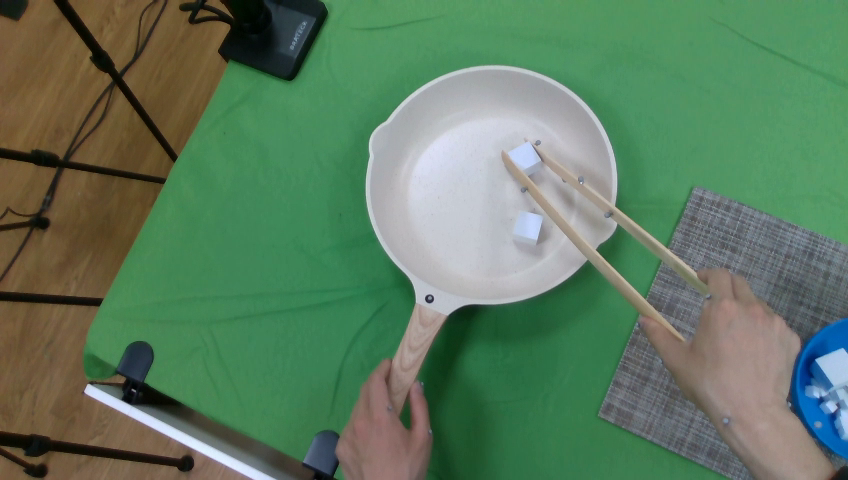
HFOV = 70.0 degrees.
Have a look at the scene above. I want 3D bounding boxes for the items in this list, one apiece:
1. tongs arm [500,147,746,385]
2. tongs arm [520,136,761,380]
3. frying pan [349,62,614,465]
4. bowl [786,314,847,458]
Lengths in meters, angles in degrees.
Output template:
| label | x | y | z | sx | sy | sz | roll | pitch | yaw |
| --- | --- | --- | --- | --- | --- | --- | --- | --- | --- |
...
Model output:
| label | x | y | z | sx | sy | sz | roll | pitch | yaw |
| --- | --- | --- | --- | --- | --- | --- | --- | --- | --- |
| tongs arm | 0.173 | 0.003 | 0.621 | 0.028 | 0.028 | 0.383 | -27 | 44 | -6 |
| tongs arm | 0.193 | -0.008 | 0.622 | 0.051 | 0.027 | 0.380 | -33 | 44 | -7 |
| frying pan | 0.030 | 0.022 | 0.701 | 0.306 | 0.103 | 0.486 | 23 | 73 | 12 |
| bowl | 0.449 | 0.154 | 0.636 | 0.151 | 0.077 | 0.150 | -1 | 78 | 6 |
